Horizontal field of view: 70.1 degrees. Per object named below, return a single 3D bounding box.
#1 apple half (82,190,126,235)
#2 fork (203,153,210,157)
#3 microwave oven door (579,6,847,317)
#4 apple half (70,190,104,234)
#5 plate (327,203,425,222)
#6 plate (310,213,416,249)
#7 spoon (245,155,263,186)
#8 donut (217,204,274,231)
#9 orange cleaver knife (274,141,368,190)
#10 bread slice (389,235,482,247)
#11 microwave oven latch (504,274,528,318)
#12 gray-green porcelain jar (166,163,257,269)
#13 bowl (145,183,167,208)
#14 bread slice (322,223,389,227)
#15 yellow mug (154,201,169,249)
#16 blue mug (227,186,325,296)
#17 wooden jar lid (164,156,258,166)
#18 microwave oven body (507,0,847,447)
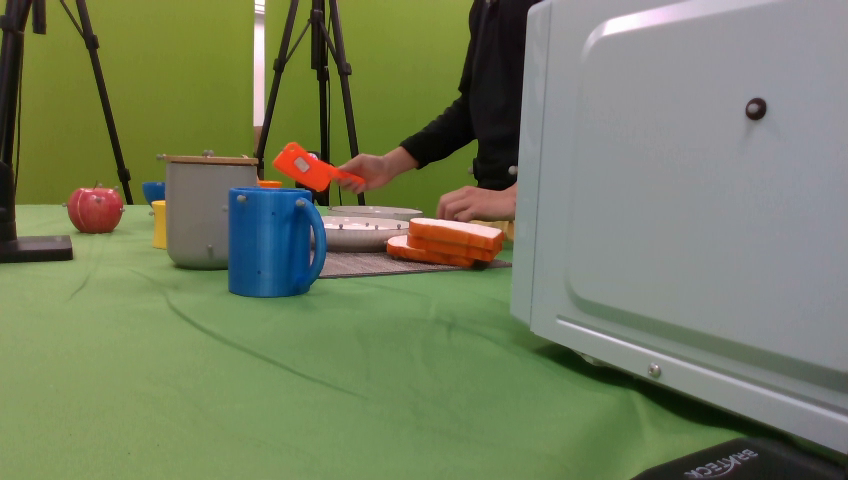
[{"bbox_3d":[-0.516,-0.046,0.994,0.032,0.081,0.081,0,6,26],"label":"apple half"},{"bbox_3d":[-0.480,-0.136,1.411,0.028,0.018,0.207,1,-34,-1],"label":"fork"},{"bbox_3d":[0.294,-0.067,0.570,0.358,0.243,0.039,-3,9,-31],"label":"microwave oven door"},{"bbox_3d":[-0.552,-0.048,1.009,0.053,0.074,0.081,-1,9,26],"label":"apple half"},{"bbox_3d":[-0.102,-0.053,1.299,0.209,0.038,0.209,2,8,0],"label":"plate"},{"bbox_3d":[-0.117,-0.014,0.967,0.208,0.039,0.207,2,7,0],"label":"plate"},{"bbox_3d":[-0.421,-0.150,1.540,0.042,0.021,0.193,-5,55,-37],"label":"spoon"},{"bbox_3d":[-0.317,-0.038,1.080,0.099,0.048,0.099,3,7,0],"label":"donut"},{"bbox_3d":[-0.227,-0.152,1.350,0.212,0.077,0.012,22,8,-29],"label":"orange cleaver knife"},{"bbox_3d":[0.016,0.002,0.873,0.131,0.019,0.105,0,0,2],"label":"bread slice"},{"bbox_3d":[0.100,0.041,0.471,0.079,0.029,0.030,-1,8,-28],"label":"microwave oven latch"},{"bbox_3d":[-0.263,-0.031,0.754,0.106,0.126,0.106,2,7,0],"label":"gray-green porcelain jar"},{"bbox_3d":[-0.459,-0.068,1.175,0.151,0.077,0.151,3,7,0],"label":"bowl"},{"bbox_3d":[-0.116,-0.014,0.974,0.135,0.018,0.106,-5,11,-42],"label":"bread slice"},{"bbox_3d":[-0.337,-0.022,0.899,0.130,0.064,0.100,8,9,34],"label":"yellow mug"},{"bbox_3d":[-0.146,0.000,0.618,0.116,0.106,0.083,7,9,32],"label":"blue mug"},{"bbox_3d":[-0.261,-0.093,0.746,0.108,0.020,0.108,1,9,0],"label":"wooden jar lid"},{"bbox_3d":[0.331,-0.042,0.425,0.444,0.260,0.324,-2,8,-31],"label":"microwave oven body"}]
